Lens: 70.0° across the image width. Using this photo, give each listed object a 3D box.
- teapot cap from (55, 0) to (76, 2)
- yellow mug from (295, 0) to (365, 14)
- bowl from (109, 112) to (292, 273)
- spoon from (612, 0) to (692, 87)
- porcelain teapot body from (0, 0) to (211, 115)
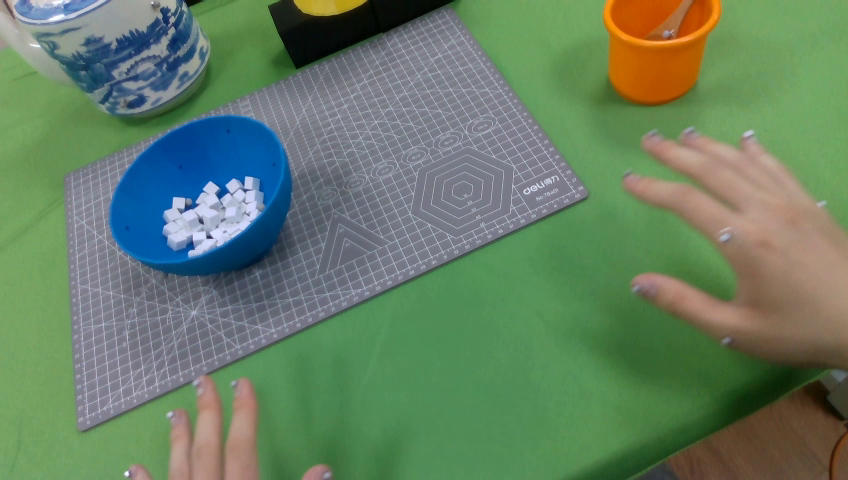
[{"bbox_3d":[-0.335,-0.262,0.572,0.085,0.044,0.084,-7,58,12],"label":"teapot cap"},{"bbox_3d":[-0.084,-0.285,0.607,0.130,0.064,0.099,16,64,22],"label":"yellow mug"},{"bbox_3d":[-0.174,-0.027,0.516,0.151,0.077,0.150,-6,57,10],"label":"bowl"},{"bbox_3d":[0.225,-0.207,0.494,0.022,0.194,0.041,0,47,-41],"label":"spoon"},{"bbox_3d":[-0.354,-0.233,0.605,0.205,0.227,0.143,-20,56,2],"label":"porcelain teapot body"}]
